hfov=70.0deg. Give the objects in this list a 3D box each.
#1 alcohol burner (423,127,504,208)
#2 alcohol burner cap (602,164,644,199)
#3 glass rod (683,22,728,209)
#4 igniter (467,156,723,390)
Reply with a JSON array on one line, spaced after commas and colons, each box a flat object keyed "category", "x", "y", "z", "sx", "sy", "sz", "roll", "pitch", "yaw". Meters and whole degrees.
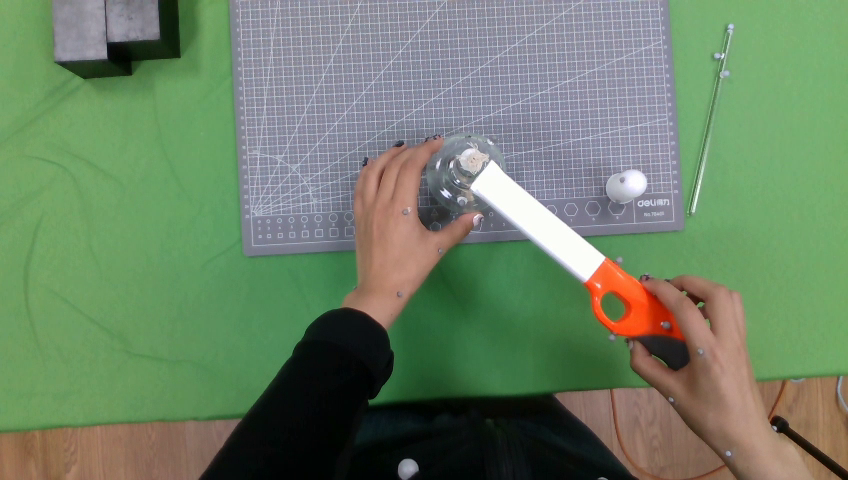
[{"category": "alcohol burner", "x": 0.038, "y": -0.071, "z": 0.564, "sx": 0.078, "sy": 0.119, "sz": 0.078, "roll": 0, "pitch": 86, "yaw": -2}, {"category": "alcohol burner cap", "x": 0.200, "y": -0.059, "z": 0.603, "sx": 0.034, "sy": 0.048, "sz": 0.034, "roll": 0, "pitch": 87, "yaw": 0}, {"category": "glass rod", "x": 0.291, "y": -0.129, "z": 0.627, "sx": 0.008, "sy": 0.008, "sz": 0.199, "roll": 13, "pitch": 89, "yaw": -1}, {"category": "igniter", "x": 0.150, "y": 0.029, "z": 0.519, "sx": 0.277, "sy": 0.025, "sz": 0.057, "roll": 40, "pitch": 86, "yaw": -2}]
